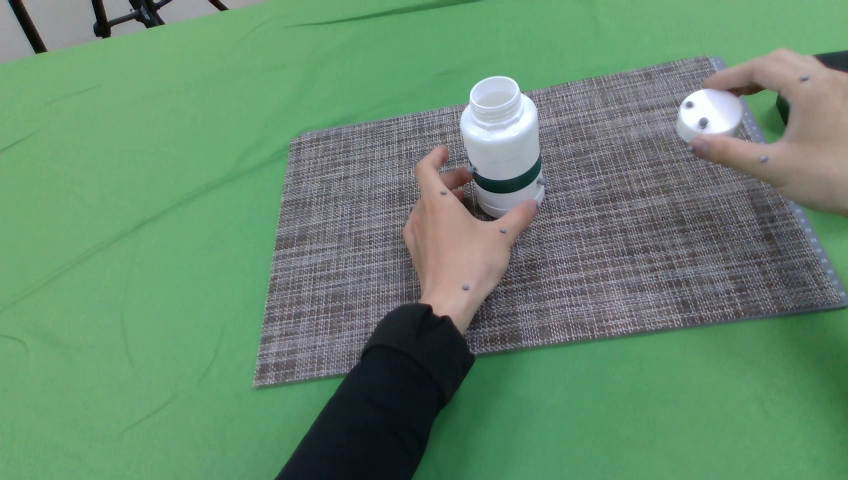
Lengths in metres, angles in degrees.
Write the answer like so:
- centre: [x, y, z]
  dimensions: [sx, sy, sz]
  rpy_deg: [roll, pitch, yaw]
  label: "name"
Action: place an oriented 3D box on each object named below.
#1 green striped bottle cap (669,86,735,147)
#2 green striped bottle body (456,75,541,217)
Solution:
- centre: [0.205, -0.092, 0.447]
  dimensions: [0.044, 0.020, 0.044]
  rpy_deg: [-6, 60, 12]
  label: "green striped bottle cap"
- centre: [0.064, -0.079, 0.513]
  dimensions: [0.063, 0.120, 0.062]
  rpy_deg: [-7, 51, 10]
  label: "green striped bottle body"
